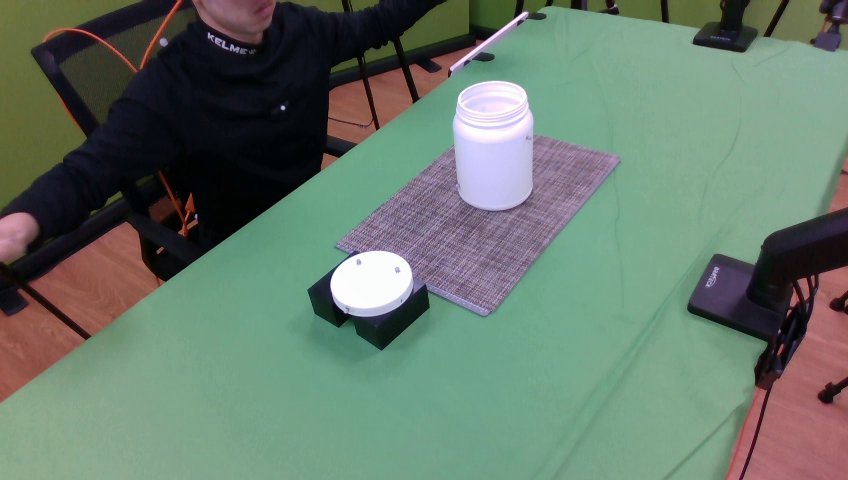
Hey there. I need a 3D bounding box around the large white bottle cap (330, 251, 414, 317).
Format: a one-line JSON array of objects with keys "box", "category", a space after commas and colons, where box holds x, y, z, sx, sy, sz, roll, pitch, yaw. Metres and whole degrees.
[{"box": [-0.072, 0.059, 0.836, 0.115, 0.018, 0.114, -4, 41, 4], "category": "large white bottle cap"}]

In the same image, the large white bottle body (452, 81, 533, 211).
[{"box": [0.115, -0.156, 1.002, 0.130, 0.185, 0.130, -5, 41, 4], "category": "large white bottle body"}]
